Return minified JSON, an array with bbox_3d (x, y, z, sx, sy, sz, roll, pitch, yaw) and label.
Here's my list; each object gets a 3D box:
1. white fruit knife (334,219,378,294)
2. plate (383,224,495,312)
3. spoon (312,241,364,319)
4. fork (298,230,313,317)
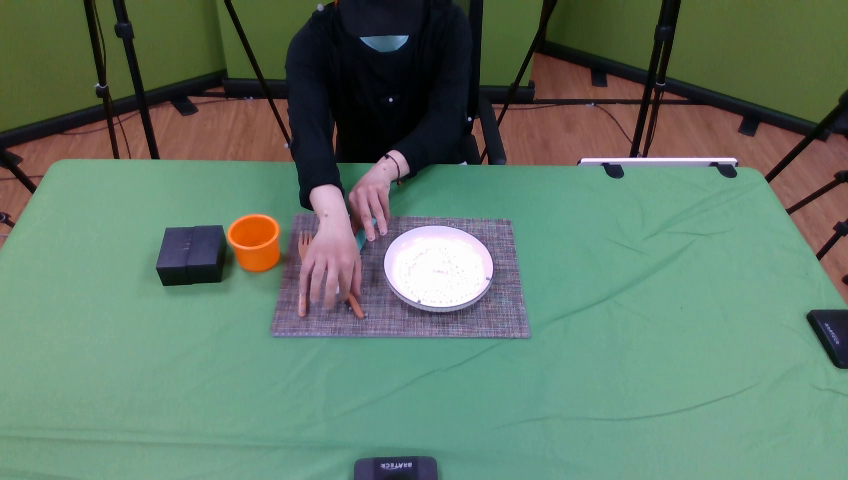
[{"bbox_3d":[-0.133,0.027,1.158,0.027,0.016,0.206,16,45,5],"label":"white fruit knife"},{"bbox_3d":[0.026,0.055,1.128,0.209,0.038,0.208,2,46,-2],"label":"plate"},{"bbox_3d":[-0.156,0.071,1.111,0.042,0.022,0.192,-11,47,-31],"label":"spoon"},{"bbox_3d":[-0.222,0.058,1.121,0.028,0.019,0.206,0,44,-8],"label":"fork"}]
